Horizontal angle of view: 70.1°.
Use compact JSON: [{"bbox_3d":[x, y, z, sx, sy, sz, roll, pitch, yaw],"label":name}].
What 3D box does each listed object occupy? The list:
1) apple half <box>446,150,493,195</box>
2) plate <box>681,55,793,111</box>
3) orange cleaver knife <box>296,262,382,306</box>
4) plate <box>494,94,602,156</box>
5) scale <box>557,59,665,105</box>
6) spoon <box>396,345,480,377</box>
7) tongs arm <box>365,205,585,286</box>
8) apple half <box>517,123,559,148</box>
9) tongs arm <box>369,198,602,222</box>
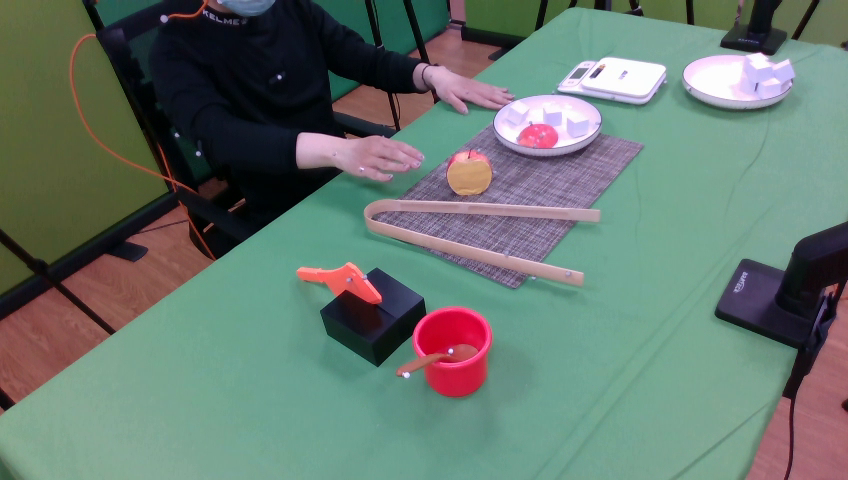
[{"bbox_3d":[0.080,-0.124,1.065,0.081,0.075,0.053,-7,37,7],"label":"apple half"},{"bbox_3d":[0.636,-0.317,1.239,0.207,0.039,0.206,-4,40,4],"label":"plate"},{"bbox_3d":[-0.127,0.064,0.875,0.012,0.077,0.210,-42,21,-28],"label":"orange cleaver knife"},{"bbox_3d":[0.240,-0.221,1.181,0.209,0.038,0.208,-4,41,4],"label":"plate"},{"bbox_3d":[0.407,-0.348,1.314,0.199,0.032,0.149,19,47,28],"label":"scale"},{"bbox_3d":[0.017,0.142,0.715,0.041,0.021,0.195,22,5,27],"label":"spoon"},{"bbox_3d":[0.067,0.004,0.951,0.382,0.026,0.051,13,45,23],"label":"tongs arm"},{"bbox_3d":[0.221,-0.207,1.161,0.081,0.033,0.081,-6,43,6],"label":"apple half"},{"bbox_3d":[0.097,-0.048,1.009,0.386,0.028,0.028,3,46,13],"label":"tongs arm"}]
